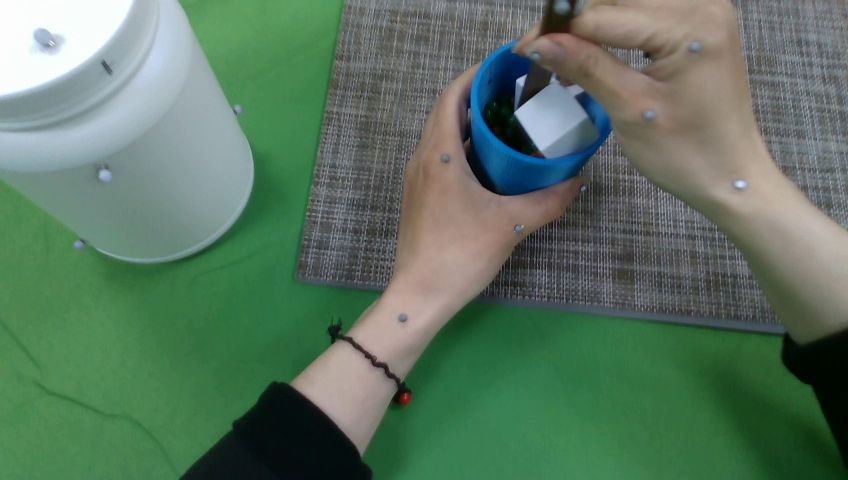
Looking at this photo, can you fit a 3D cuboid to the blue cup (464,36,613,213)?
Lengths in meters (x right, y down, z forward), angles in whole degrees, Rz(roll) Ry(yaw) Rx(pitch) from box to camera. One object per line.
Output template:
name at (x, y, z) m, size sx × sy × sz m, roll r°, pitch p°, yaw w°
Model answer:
blue cup at (0.067, -0.064, 0.393) m, size 0.092 × 0.101 × 0.092 m, roll 0°, pitch 69°, yaw 1°

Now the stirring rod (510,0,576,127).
stirring rod at (0.061, -0.089, 0.321) m, size 0.014 × 0.177 × 0.006 m, roll -12°, pitch 69°, yaw -6°

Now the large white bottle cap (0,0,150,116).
large white bottle cap at (-0.184, -0.107, 0.270) m, size 0.115 × 0.018 × 0.114 m, roll 1°, pitch 69°, yaw -1°

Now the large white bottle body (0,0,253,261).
large white bottle body at (-0.184, -0.076, 0.349) m, size 0.131 × 0.186 × 0.129 m, roll 1°, pitch 69°, yaw -1°
